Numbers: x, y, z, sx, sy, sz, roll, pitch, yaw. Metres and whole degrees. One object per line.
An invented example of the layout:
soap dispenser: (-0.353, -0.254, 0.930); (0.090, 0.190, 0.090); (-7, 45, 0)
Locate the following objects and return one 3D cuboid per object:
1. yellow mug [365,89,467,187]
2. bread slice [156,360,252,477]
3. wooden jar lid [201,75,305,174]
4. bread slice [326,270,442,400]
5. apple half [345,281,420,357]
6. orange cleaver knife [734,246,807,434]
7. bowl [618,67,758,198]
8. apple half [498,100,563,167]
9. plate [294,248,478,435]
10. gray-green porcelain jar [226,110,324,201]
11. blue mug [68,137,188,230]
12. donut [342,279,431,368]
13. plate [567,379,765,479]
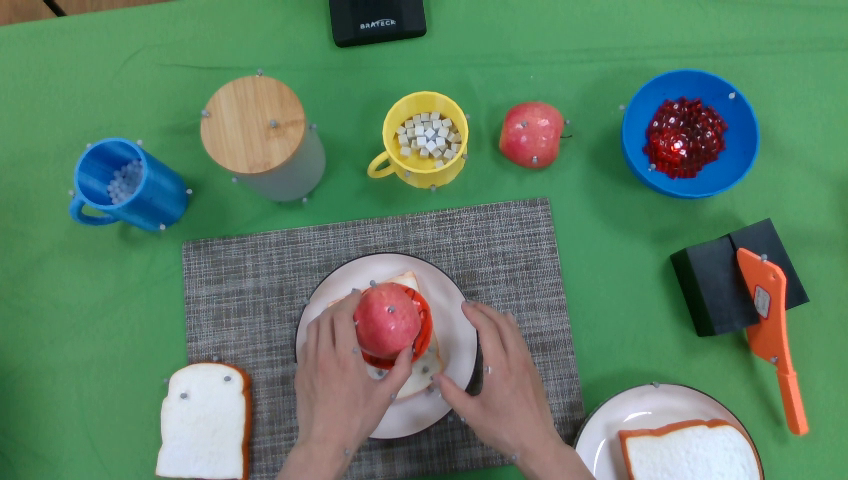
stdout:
yellow mug: (-0.013, -0.112, 0.722); (0.131, 0.064, 0.099); (-31, 80, -3)
bread slice: (-0.251, 0.204, 0.694); (0.105, 0.019, 0.131); (0, 81, 1)
wooden jar lid: (-0.177, -0.119, 0.635); (0.108, 0.021, 0.108); (-1, 78, 3)
bread slice: (-0.037, 0.112, 0.692); (0.107, 0.018, 0.134); (-23, 81, -1)
apple half: (-0.043, 0.083, 0.628); (0.081, 0.033, 0.081); (-1, 83, 6)
orange cleaver knife: (0.376, 0.108, 0.661); (0.012, 0.077, 0.212); (-18, 101, -8)
bowl: (0.294, -0.114, 0.706); (0.151, 0.077, 0.151); (0, 80, 2)
apple half: (0.129, -0.134, 0.728); (0.074, 0.053, 0.080); (14, 81, 7)
plate: (-0.042, 0.114, 0.693); (0.207, 0.039, 0.207); (0, 80, 2)
gray-green porcelain jar: (-0.175, -0.107, 0.696); (0.106, 0.127, 0.105); (0, 79, 2)
blue mug: (-0.349, -0.054, 0.702); (0.116, 0.106, 0.082); (-33, 80, -4)
donut: (-0.041, 0.092, 0.668); (0.099, 0.048, 0.098); (0, 79, 2)
plate: (0.258, 0.257, 0.660); (0.209, 0.038, 0.208); (0, 80, 3)
